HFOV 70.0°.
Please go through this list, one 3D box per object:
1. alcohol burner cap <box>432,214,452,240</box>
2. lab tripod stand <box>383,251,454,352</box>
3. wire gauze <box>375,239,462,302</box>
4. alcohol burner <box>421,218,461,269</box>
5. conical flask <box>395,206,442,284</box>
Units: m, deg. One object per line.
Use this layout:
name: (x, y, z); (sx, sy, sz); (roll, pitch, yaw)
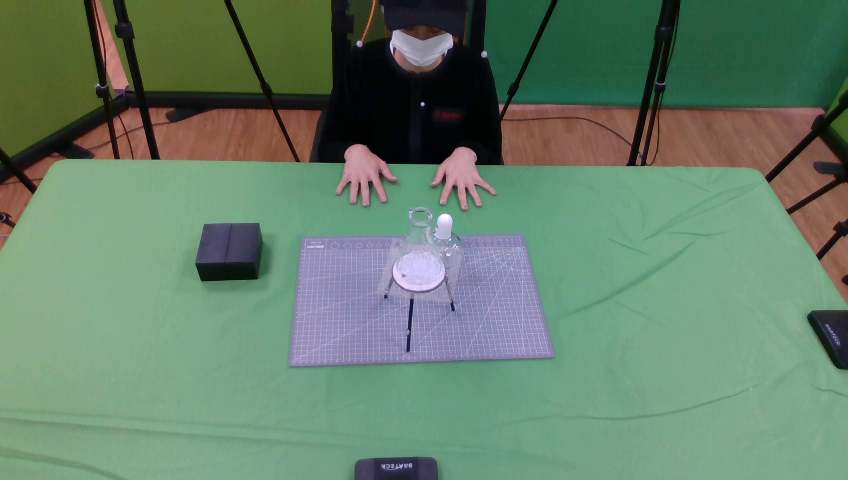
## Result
alcohol burner cap: (0.035, -0.027, 1.110); (0.034, 0.048, 0.033); (7, 42, -6)
lab tripod stand: (-0.015, 0.094, 1.025); (0.148, 0.132, 0.147); (1, 46, -1)
wire gauze: (-0.006, 0.049, 0.978); (0.121, 0.011, 0.124); (10, 44, 5)
alcohol burner: (0.033, -0.001, 1.135); (0.078, 0.119, 0.077); (3, 48, -3)
conical flask: (-0.007, 0.005, 0.937); (0.075, 0.122, 0.075); (2, 45, -1)
